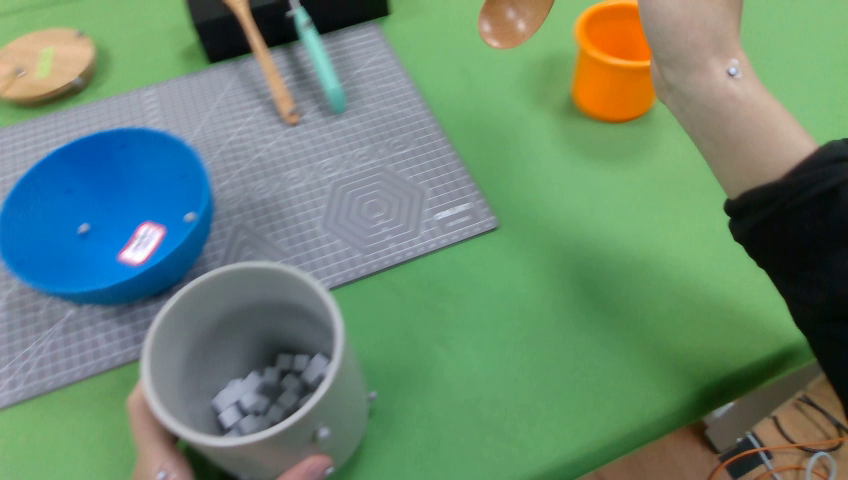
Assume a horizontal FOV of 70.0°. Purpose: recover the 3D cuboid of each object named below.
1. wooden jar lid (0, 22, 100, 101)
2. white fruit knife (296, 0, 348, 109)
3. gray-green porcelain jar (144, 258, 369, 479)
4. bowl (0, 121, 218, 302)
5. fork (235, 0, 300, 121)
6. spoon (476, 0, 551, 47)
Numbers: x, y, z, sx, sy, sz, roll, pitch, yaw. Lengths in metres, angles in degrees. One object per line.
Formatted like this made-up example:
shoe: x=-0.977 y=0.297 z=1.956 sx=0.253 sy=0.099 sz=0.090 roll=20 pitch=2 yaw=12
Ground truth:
wooden jar lid: x=-0.385 y=-0.181 z=0.621 sx=0.108 sy=0.021 sz=0.107 roll=0 pitch=57 yaw=1
white fruit knife: x=-0.116 y=-0.220 z=0.596 sx=0.016 sy=0.027 sz=0.206 roll=-20 pitch=72 yaw=-12
gray-green porcelain jar: x=-0.090 y=0.087 z=0.368 sx=0.106 sy=0.127 sz=0.105 roll=-1 pitch=56 yaw=2
bowl: x=-0.224 y=-0.009 z=0.462 sx=0.151 sy=0.077 sz=0.150 roll=-1 pitch=57 yaw=2
fork: x=-0.163 y=-0.205 z=0.587 sx=0.028 sy=0.019 sz=0.206 roll=-22 pitch=77 yaw=-17
spoon: x=0.100 y=-0.186 z=0.350 sx=0.041 sy=0.194 sz=0.021 roll=55 pitch=42 yaw=4
